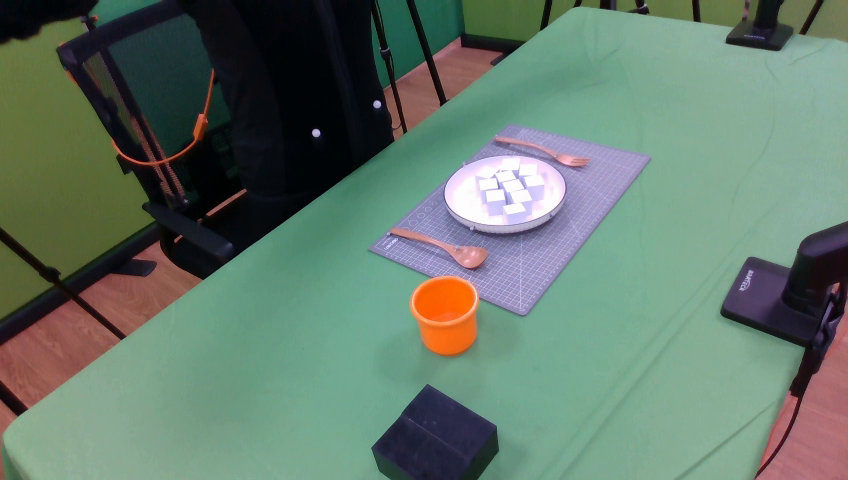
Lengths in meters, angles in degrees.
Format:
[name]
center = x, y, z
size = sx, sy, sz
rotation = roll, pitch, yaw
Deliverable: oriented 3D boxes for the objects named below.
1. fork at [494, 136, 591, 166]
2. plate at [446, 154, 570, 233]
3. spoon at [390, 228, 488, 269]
[fork]
center = 0.219, -0.171, 1.144
size = 0.205, 0.019, 0.028
rotation = 24, 57, 31
[plate]
center = 0.142, -0.076, 1.033
size = 0.207, 0.039, 0.206
rotation = -5, 40, 5
[spoon]
center = 0.019, 0.006, 0.970
size = 0.192, 0.022, 0.041
rotation = 21, 66, 31
